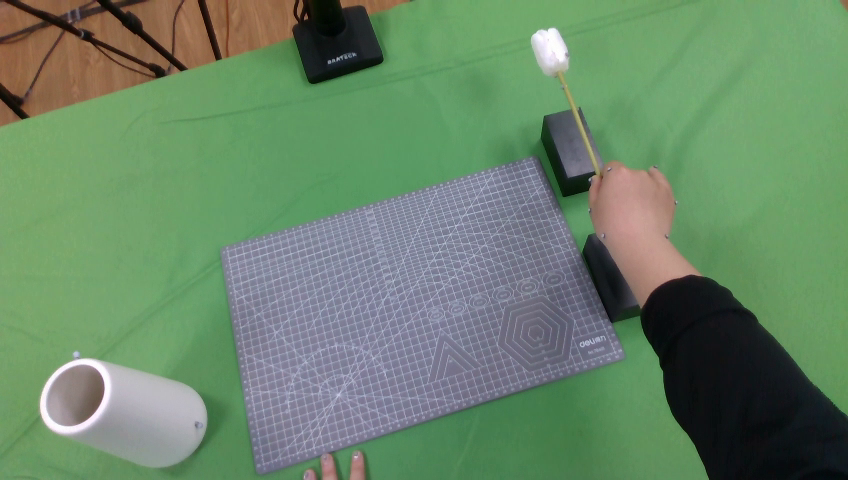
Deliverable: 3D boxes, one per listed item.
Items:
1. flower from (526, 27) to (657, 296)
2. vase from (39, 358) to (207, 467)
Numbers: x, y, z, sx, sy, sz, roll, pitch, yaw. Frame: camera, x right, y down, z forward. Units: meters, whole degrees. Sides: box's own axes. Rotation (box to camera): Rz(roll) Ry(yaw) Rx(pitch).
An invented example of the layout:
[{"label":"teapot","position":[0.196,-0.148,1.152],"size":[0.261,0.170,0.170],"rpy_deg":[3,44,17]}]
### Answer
[{"label":"flower","position":[0.187,-0.101,0.680],"size":[0.044,0.038,0.358],"rpy_deg":[6,57,-39]},{"label":"vase","position":[-0.306,0.181,0.637],"size":[0.098,0.201,0.097],"rpy_deg":[-1,65,3]}]
